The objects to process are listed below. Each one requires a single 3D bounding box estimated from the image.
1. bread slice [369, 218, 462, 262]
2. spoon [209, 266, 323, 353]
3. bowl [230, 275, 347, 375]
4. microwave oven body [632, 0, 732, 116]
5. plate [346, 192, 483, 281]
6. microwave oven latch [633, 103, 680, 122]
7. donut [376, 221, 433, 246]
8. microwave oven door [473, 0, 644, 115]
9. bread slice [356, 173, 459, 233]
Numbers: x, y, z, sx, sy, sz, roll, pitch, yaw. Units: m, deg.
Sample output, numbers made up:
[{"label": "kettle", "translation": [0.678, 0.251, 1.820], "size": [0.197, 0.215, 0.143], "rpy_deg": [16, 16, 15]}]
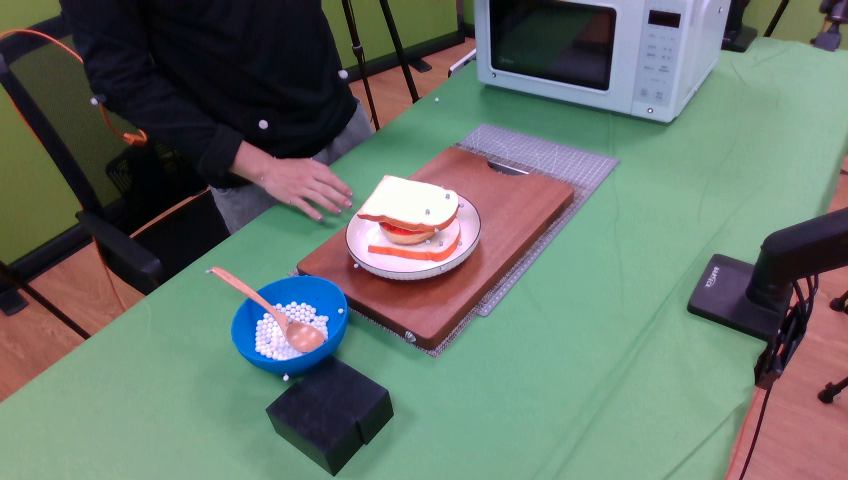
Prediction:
[{"label": "bread slice", "translation": [-0.008, -0.009, 0.929], "size": [0.131, 0.019, 0.105], "rpy_deg": [7, 44, 20]}, {"label": "spoon", "translation": [-0.213, 0.088, 0.806], "size": [0.193, 0.021, 0.042], "rpy_deg": [36, 57, 11]}, {"label": "bowl", "translation": [-0.171, 0.125, 0.802], "size": [0.151, 0.077, 0.150], "rpy_deg": [-4, 40, 4]}, {"label": "microwave oven body", "translation": [0.377, -0.463, 1.267], "size": [0.438, 0.261, 0.327], "rpy_deg": [21, 48, 30]}, {"label": "plate", "translation": [-0.013, -0.008, 0.922], "size": [0.207, 0.039, 0.206], "rpy_deg": [-4, 40, 4]}, {"label": "microwave oven latch", "translation": [0.444, -0.249, 1.158], "size": [0.078, 0.029, 0.030], "rpy_deg": [21, 49, 30]}, {"label": "donut", "translation": [-0.023, -0.031, 0.906], "size": [0.099, 0.048, 0.098], "rpy_deg": [-9, 42, 9]}, {"label": "microwave oven door", "translation": [0.257, -0.396, 1.199], "size": [0.353, 0.245, 0.039], "rpy_deg": [21, 48, 29]}, {"label": "bread slice", "translation": [-0.018, -0.053, 0.886], "size": [0.134, 0.018, 0.107], "rpy_deg": [12, 43, 12]}]
